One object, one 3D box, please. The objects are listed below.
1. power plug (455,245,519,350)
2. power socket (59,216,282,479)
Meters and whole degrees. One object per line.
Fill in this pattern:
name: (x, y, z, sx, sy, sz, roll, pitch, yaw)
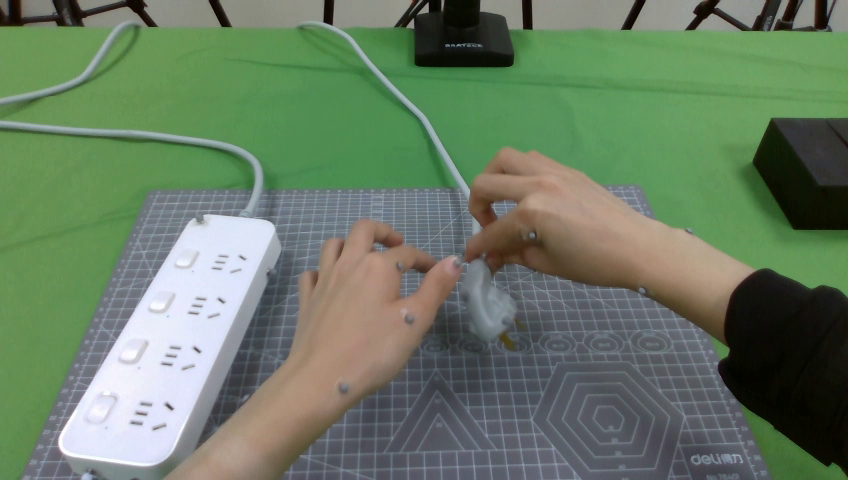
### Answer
power plug: (0.048, 0.037, 0.410, 0.035, 0.053, 0.072, -22, 27, 41)
power socket: (-0.162, 0.063, 0.418, 0.072, 0.033, 0.225, 7, 44, 5)
